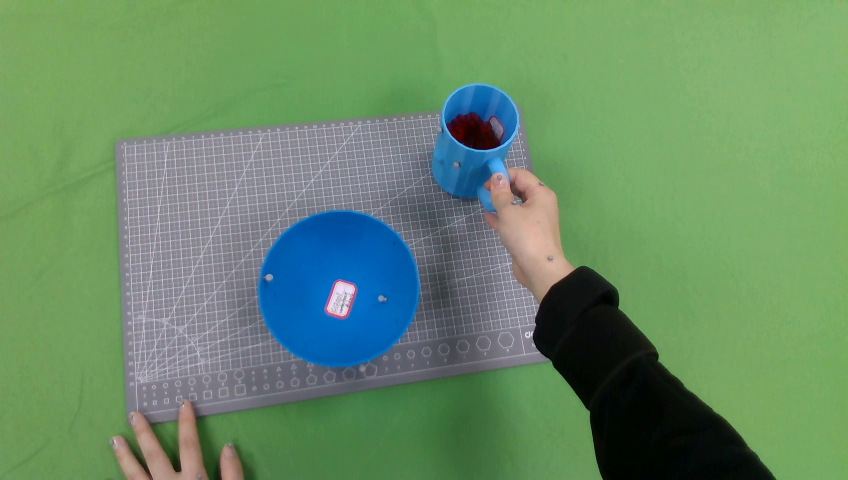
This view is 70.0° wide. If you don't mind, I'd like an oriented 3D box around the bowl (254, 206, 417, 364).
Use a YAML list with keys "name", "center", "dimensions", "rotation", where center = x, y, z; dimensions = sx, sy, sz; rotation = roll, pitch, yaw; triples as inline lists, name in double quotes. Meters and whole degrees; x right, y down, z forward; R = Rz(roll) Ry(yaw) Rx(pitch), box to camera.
- name: "bowl"
  center: [-0.084, 0.049, 0.599]
  dimensions: [0.151, 0.077, 0.150]
  rotation: [2, 76, -6]

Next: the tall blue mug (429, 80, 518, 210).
- name: "tall blue mug"
  center: [0.060, -0.094, 0.630]
  dimensions: [0.107, 0.108, 0.077]
  rotation: [39, 71, 8]
